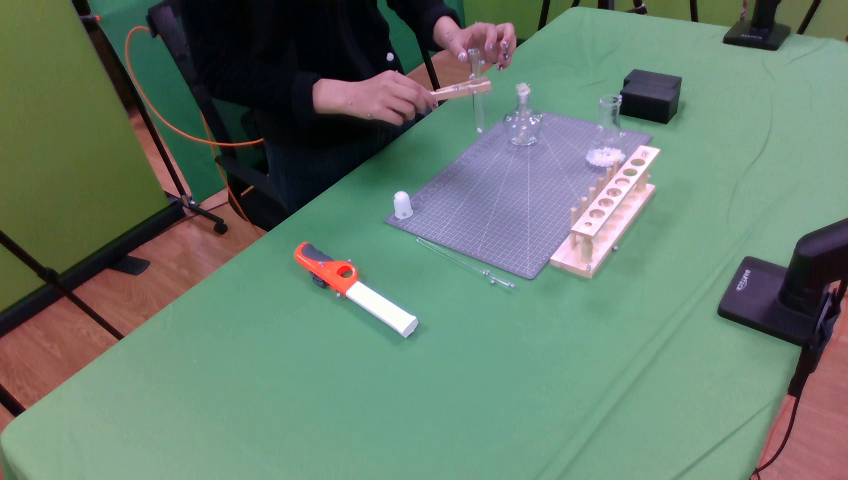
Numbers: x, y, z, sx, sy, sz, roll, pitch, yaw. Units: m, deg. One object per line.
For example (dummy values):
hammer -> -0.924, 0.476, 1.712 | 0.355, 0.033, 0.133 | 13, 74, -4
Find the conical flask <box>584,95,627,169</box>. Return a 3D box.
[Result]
conical flask -> 0.323, -0.192, 1.066 | 0.075, 0.122, 0.075 | -6, 40, 5

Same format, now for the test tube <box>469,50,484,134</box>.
test tube -> 0.087, -0.237, 0.982 | 0.017, 0.151, 0.017 | -5, 44, 5

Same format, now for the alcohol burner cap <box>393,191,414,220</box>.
alcohol burner cap -> -0.037, -0.062, 1.045 | 0.034, 0.048, 0.033 | -5, 40, 5

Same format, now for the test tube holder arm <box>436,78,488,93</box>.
test tube holder arm -> 0.061, -0.242, 0.972 | 0.088, 0.015, 0.010 | -19, 38, -12

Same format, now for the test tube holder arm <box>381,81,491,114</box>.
test tube holder arm -> 0.020, -0.227, 0.961 | 0.179, 0.015, 0.013 | -14, 37, -7

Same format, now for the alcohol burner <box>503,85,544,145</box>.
alcohol burner -> 0.191, -0.243, 1.160 | 0.078, 0.119, 0.077 | -4, 40, 4

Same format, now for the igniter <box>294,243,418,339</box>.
igniter -> -0.114, 0.070, 0.919 | 0.274, 0.025, 0.057 | 29, 63, 37

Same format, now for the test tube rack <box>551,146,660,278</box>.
test tube rack -> 0.286, -0.053, 0.944 | 0.066, 0.085, 0.243 | 21, 49, 32

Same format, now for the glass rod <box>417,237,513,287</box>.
glass rod -> 0.058, 0.033, 0.944 | 0.198, 0.008, 0.008 | 26, 52, 38
